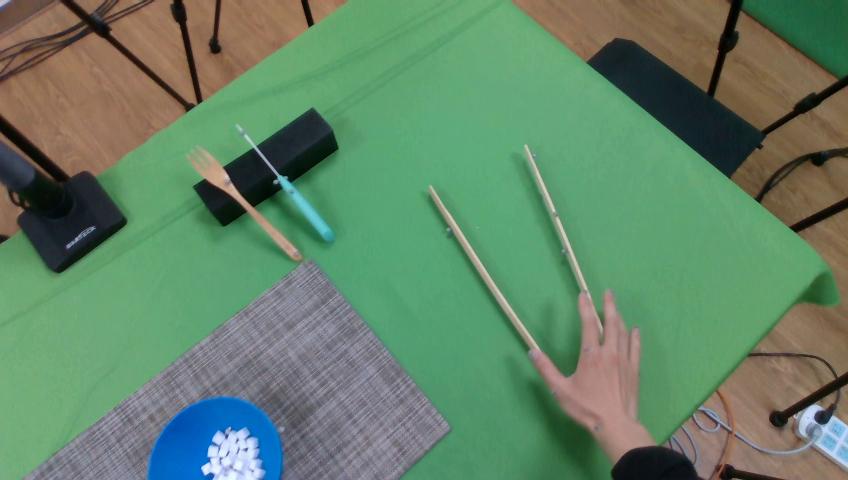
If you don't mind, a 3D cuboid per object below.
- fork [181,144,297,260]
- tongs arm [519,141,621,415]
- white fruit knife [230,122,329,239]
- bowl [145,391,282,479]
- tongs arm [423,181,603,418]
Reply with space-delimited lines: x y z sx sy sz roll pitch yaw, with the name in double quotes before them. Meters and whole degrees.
"fork" -0.249 -0.049 0.826 0.207 0.018 0.028 46 71 -4
"tongs arm" 0.179 0.038 0.805 0.051 0.027 0.382 -19 70 -4
"white fruit knife" -0.202 -0.083 0.836 0.016 0.027 0.207 -41 89 -7
"bowl" -0.232 0.258 0.706 0.151 0.077 0.150 -1 68 2
"tongs arm" 0.104 0.071 0.799 0.028 0.028 0.384 -30 71 -12
